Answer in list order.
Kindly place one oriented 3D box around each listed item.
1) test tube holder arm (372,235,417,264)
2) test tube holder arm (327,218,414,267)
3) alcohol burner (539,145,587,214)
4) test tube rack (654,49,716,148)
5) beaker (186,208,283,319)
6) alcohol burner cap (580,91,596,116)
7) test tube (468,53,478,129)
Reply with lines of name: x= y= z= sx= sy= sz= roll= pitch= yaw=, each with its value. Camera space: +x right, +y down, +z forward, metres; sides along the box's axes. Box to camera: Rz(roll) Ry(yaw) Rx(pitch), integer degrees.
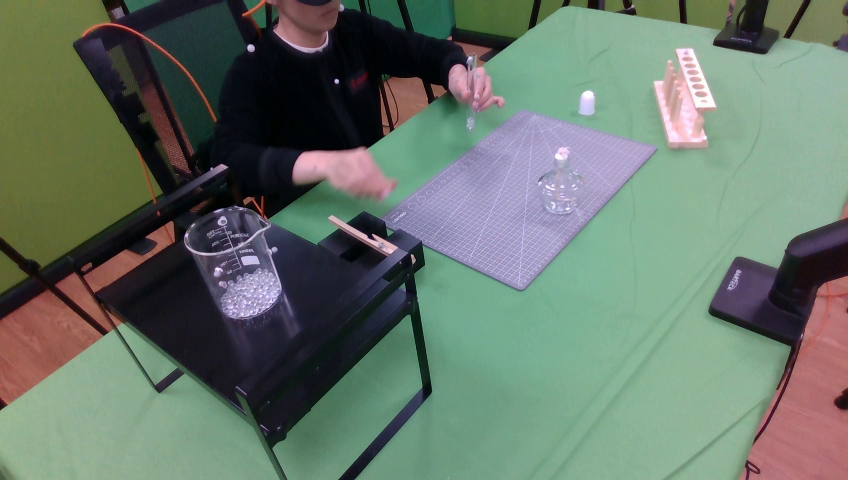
test tube holder arm: x=-0.047 y=0.014 z=0.895 sx=0.087 sy=0.015 sz=0.010 roll=25 pitch=53 yaw=33
test tube holder arm: x=-0.085 y=0.002 z=0.916 sx=0.177 sy=0.015 sz=0.013 roll=23 pitch=52 yaw=32
alcohol burner: x=0.226 y=-0.102 z=0.986 sx=0.078 sy=0.119 sz=0.077 roll=-6 pitch=41 yaw=6
test tube rack: x=0.502 y=-0.281 z=1.176 sx=0.066 sy=0.085 sz=0.241 roll=1 pitch=41 yaw=11
beaker: x=-0.192 y=0.026 z=0.637 sx=0.084 sy=0.101 sz=0.073 roll=-13 pitch=41 yaw=-7
alcohol burner cap: x=0.338 y=-0.283 z=1.238 sx=0.034 sy=0.048 sz=0.033 roll=-5 pitch=42 yaw=5
test tube: x=0.087 y=-0.262 z=1.076 sx=0.017 sy=0.151 sz=0.017 roll=-1 pitch=46 yaw=2
